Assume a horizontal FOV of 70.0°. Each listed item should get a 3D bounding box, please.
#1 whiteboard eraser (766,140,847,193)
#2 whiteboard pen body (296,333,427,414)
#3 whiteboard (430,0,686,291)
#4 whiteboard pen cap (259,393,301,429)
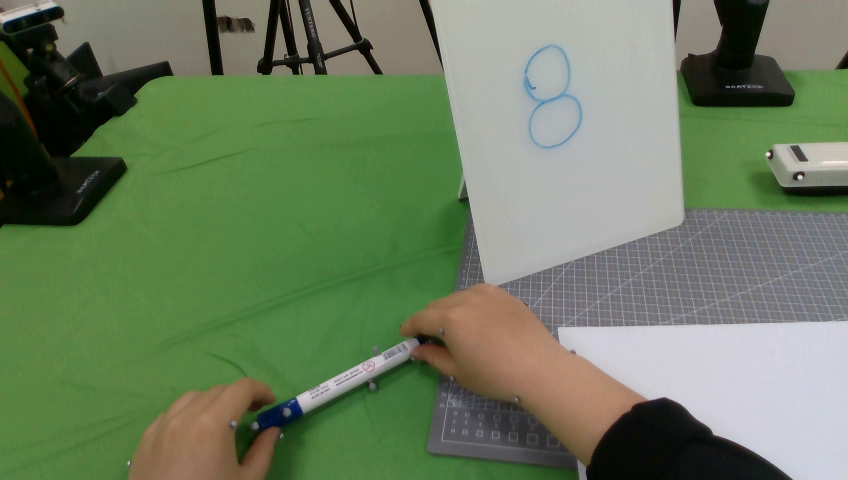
[{"bbox_3d":[0.421,-0.076,0.625,0.112,0.042,0.055,0,44,7],"label":"whiteboard eraser"},{"bbox_3d":[-0.060,0.112,0.492,0.141,0.017,0.017,-25,45,-21],"label":"whiteboard pen body"},{"bbox_3d":[0.111,-0.143,0.588,0.217,0.307,0.142,-17,22,-10],"label":"whiteboard"},{"bbox_3d":[-0.110,0.132,0.472,0.033,0.018,0.018,-23,44,-22],"label":"whiteboard pen cap"}]
